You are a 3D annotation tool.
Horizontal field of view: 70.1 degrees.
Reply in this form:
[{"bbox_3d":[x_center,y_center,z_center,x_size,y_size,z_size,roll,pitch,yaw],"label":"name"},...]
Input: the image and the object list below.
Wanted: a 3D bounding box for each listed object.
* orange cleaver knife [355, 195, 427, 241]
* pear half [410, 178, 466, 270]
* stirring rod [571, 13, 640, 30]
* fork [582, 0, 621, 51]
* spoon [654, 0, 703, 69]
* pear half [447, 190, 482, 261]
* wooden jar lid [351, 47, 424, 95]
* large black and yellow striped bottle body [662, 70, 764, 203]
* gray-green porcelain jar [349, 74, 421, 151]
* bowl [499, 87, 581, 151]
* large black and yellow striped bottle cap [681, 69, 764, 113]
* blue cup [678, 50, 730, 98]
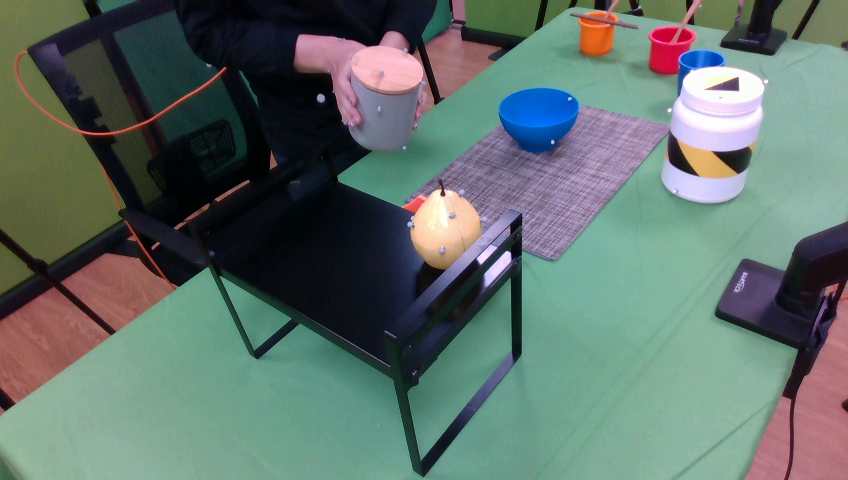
[{"bbox_3d":[-0.037,-0.029,0.973,0.210,0.077,0.012,-8,33,50],"label":"orange cleaver knife"},{"bbox_3d":[0.011,-0.019,0.654,0.056,0.110,0.076,-16,37,-9],"label":"pear half"},{"bbox_3d":[0.419,-0.508,1.404,0.174,0.006,0.014,28,55,35],"label":"stirring rod"},{"bbox_3d":[0.446,-0.539,1.438,0.207,0.019,0.028,-57,36,12],"label":"fork"},{"bbox_3d":[0.569,-0.462,1.335,0.041,0.022,0.193,34,99,37],"label":"spoon"},{"bbox_3d":[0.046,-0.020,0.664,0.031,0.088,0.070,-17,38,-9],"label":"pear half"},{"bbox_3d":[-0.055,-0.248,0.903,0.109,0.021,0.108,7,50,-8],"label":"wooden jar lid"},{"bbox_3d":[0.464,-0.166,0.976,0.131,0.185,0.130,-5,41,5],"label":"large black and yellow striped bottle body"},{"bbox_3d":[-0.064,-0.212,0.953,0.106,0.126,0.105,6,52,-7],"label":"gray-green porcelain jar"},{"bbox_3d":[0.220,-0.223,1.156,0.151,0.077,0.150,-5,40,4],"label":"bowl"},{"bbox_3d":[0.453,-0.229,0.921,0.115,0.019,0.114,-4,39,4],"label":"large black and yellow striped bottle cap"},{"bbox_3d":[0.542,-0.310,1.194,0.092,0.101,0.092,-6,41,6],"label":"blue cup"}]
